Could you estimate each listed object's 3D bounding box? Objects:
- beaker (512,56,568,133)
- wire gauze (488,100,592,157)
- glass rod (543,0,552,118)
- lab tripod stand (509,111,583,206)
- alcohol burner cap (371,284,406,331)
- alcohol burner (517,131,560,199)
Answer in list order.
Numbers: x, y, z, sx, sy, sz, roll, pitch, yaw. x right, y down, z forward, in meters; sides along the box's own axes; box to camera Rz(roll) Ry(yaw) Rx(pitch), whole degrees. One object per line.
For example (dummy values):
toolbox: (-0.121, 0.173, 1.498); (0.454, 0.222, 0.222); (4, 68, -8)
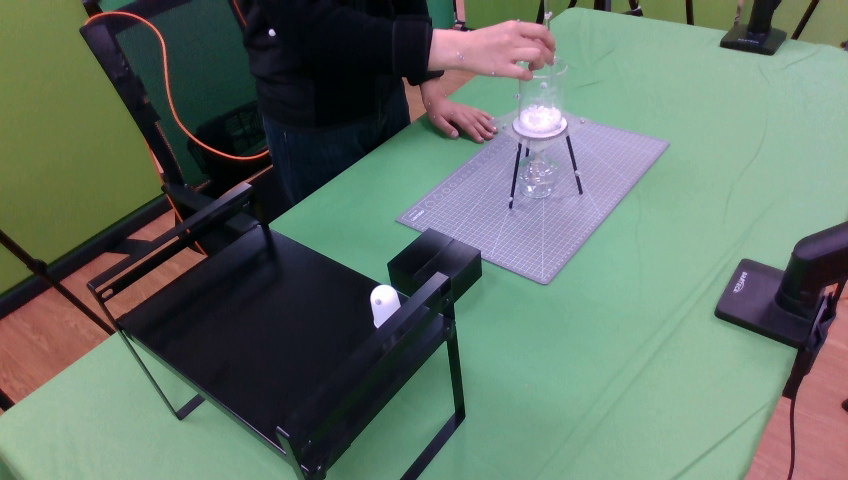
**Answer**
beaker: (0.181, -0.225, 0.946); (0.084, 0.101, 0.074); (2, 41, 12)
wire gauze: (0.185, -0.187, 0.975); (0.122, 0.011, 0.124); (-28, 47, -22)
glass rod: (0.185, -0.265, 0.901); (0.008, 0.201, 0.008); (-7, 47, 8)
lab tripod stand: (0.198, -0.139, 1.019); (0.148, 0.132, 0.147); (-3, 39, 3)
alcohol burner cap: (-0.037, 0.065, 0.608); (0.034, 0.048, 0.033); (-4, 41, 4)
alcohol burner: (0.193, -0.131, 1.026); (0.078, 0.119, 0.077); (-4, 38, 4)
